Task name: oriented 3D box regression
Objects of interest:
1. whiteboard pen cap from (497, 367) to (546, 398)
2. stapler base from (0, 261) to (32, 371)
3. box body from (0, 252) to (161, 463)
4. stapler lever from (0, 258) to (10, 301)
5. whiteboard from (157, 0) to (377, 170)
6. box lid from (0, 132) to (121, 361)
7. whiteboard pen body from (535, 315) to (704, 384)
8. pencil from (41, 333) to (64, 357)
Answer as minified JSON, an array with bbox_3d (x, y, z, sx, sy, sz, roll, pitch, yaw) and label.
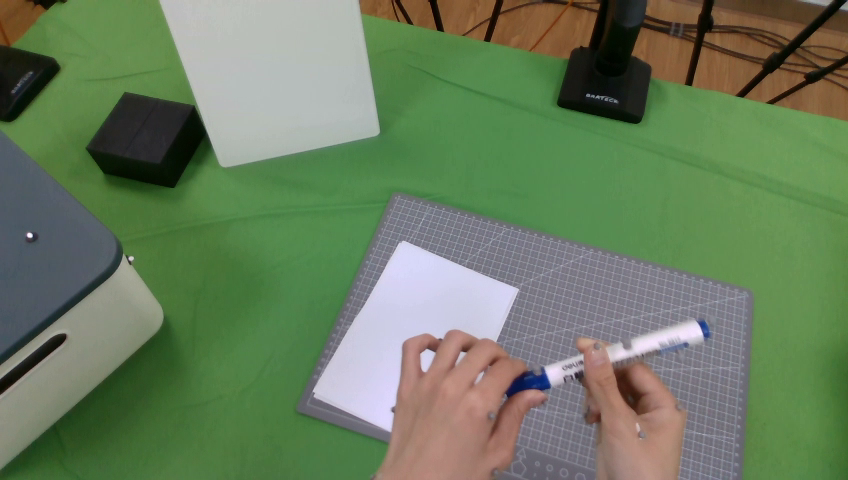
[{"bbox_3d":[0.069,0.100,0.427,0.033,0.018,0.018,-16,58,10],"label":"whiteboard pen cap"},{"bbox_3d":[-0.469,0.080,0.664,0.041,0.025,0.129,-11,62,16],"label":"stapler base"},{"bbox_3d":[-0.490,0.033,0.623,0.361,0.161,0.253,35,65,18],"label":"box body"},{"bbox_3d":[-0.475,0.071,0.644,0.027,0.040,0.117,-11,60,16],"label":"stapler lever"},{"bbox_3d":[-0.198,-0.275,0.766,0.217,0.308,0.142,-13,41,-8],"label":"whiteboard"},{"bbox_3d":[-0.491,-0.006,0.560,0.369,0.015,0.263,36,65,18],"label":"box lid"},{"bbox_3d":[0.125,0.080,0.423,0.141,0.017,0.017,-19,59,4],"label":"whiteboard pen body"},{"bbox_3d":[-0.397,0.112,0.656,0.012,0.012,0.193,18,51,11],"label":"pencil"}]
